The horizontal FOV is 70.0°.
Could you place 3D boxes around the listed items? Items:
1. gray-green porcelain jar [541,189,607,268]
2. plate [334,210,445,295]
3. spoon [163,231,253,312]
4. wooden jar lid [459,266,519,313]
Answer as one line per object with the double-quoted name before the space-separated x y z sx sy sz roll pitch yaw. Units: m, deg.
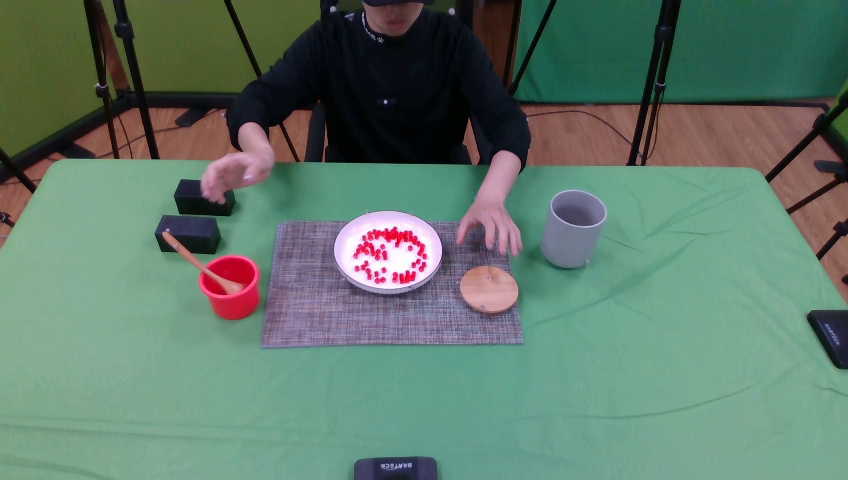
"gray-green porcelain jar" 0.283 -0.017 1.161 0.106 0.127 0.105 2 46 -1
"plate" -0.066 0.026 1.150 0.208 0.039 0.206 2 46 -2
"spoon" -0.364 0.054 1.024 0.194 0.021 0.041 43 49 -17
"wooden jar lid" 0.118 0.093 1.111 0.108 0.021 0.107 1 47 -1
